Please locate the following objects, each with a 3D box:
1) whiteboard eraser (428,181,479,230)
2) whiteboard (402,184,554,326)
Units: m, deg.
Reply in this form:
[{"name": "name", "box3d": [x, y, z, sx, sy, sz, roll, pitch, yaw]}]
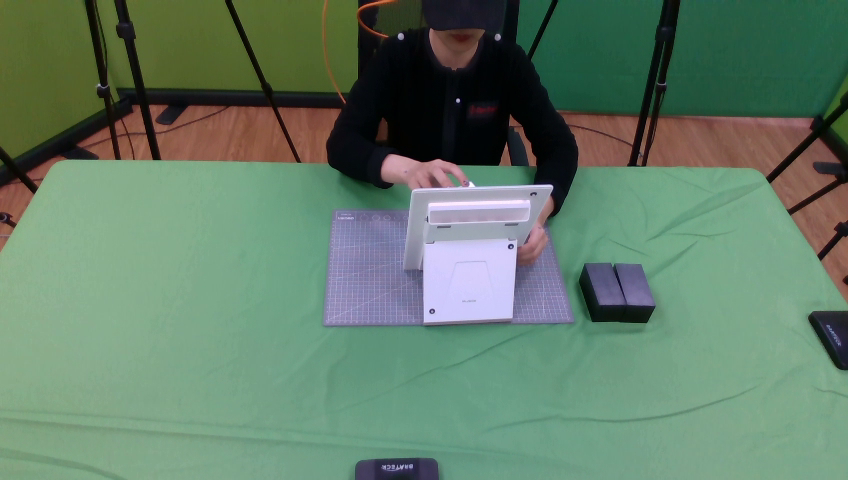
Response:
[{"name": "whiteboard eraser", "box3d": [0.053, -0.056, 1.072, 0.055, 0.113, 0.042, -30, 79, -35]}, {"name": "whiteboard", "box3d": [0.081, 0.044, 1.005, 0.217, 0.306, 0.143, -1, 65, -6]}]
